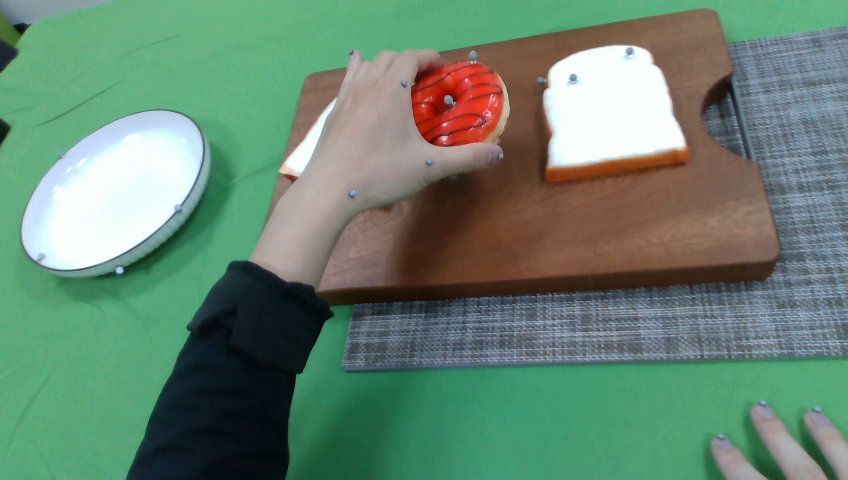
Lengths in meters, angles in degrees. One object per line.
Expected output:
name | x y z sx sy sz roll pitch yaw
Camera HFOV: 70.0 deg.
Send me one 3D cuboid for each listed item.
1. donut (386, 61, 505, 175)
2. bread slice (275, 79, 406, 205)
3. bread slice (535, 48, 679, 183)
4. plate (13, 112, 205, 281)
donut | 0.015 -0.095 0.468 0.099 0.049 0.098 -14 57 23
bread slice | -0.063 -0.094 0.555 0.106 0.018 0.133 13 63 25
bread slice | 0.141 -0.108 0.498 0.105 0.019 0.130 -8 56 11
plate | -0.317 -0.044 0.625 0.209 0.038 0.207 -9 55 13
